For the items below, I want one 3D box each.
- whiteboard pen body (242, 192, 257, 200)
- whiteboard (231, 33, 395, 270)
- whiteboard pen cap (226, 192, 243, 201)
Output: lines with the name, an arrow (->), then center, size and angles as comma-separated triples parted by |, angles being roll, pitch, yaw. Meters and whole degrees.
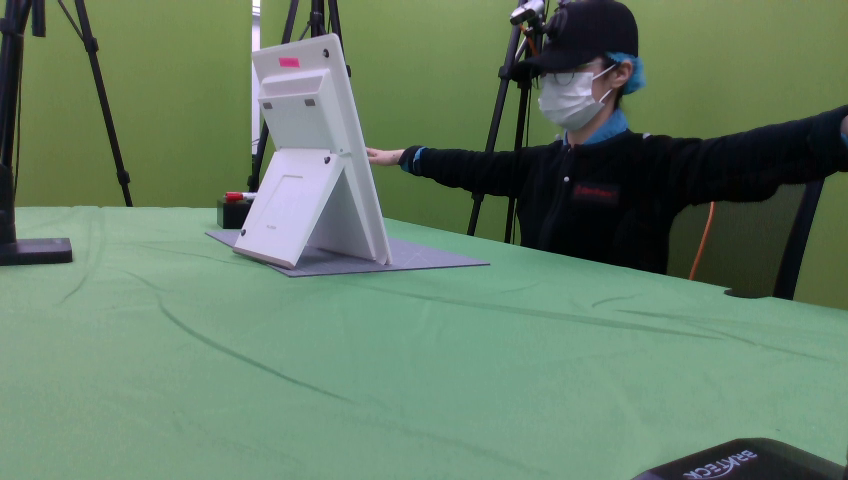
whiteboard pen body -> -0.331, -0.091, 1.248 | 0.141, 0.017, 0.017 | -4, 9, -35
whiteboard -> -0.193, -0.094, 0.805 | 0.144, 0.305, 0.216 | -28, 25, -35
whiteboard pen cap -> -0.379, -0.088, 1.215 | 0.032, 0.017, 0.017 | -6, 11, -38
